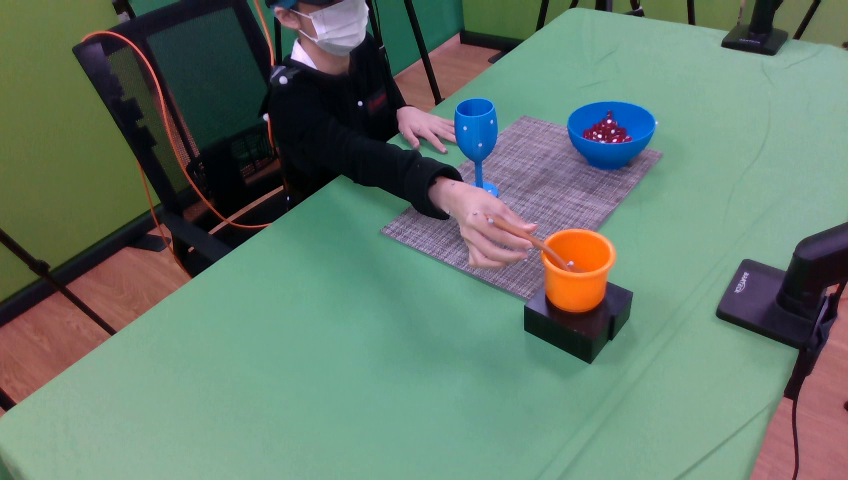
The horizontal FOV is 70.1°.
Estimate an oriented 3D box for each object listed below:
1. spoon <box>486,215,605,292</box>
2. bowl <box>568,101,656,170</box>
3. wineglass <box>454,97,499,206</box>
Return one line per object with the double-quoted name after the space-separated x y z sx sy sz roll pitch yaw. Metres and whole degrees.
0.155 0.015 0.758 0.021 0.195 0.041 -44 25 27 "spoon"
0.332 -0.179 1.084 0.151 0.077 0.150 -4 40 4 "bowl"
0.090 -0.145 1.009 0.074 0.173 0.073 -5 40 4 "wineglass"
